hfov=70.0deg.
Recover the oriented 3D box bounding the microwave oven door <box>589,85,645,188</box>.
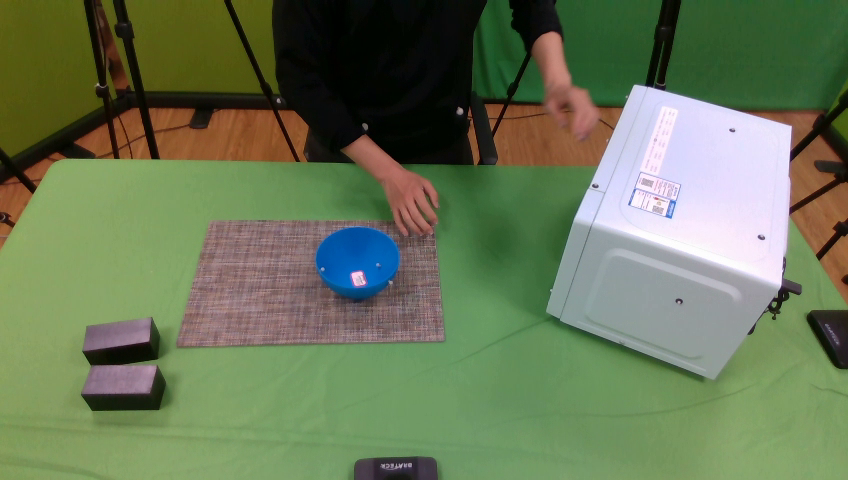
[{"bbox_3d":[0.342,-0.107,1.149,0.039,0.245,0.354,21,48,15],"label":"microwave oven door"}]

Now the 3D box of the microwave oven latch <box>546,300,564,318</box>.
[{"bbox_3d":[0.242,0.102,1.081,0.030,0.029,0.079,21,48,17],"label":"microwave oven latch"}]

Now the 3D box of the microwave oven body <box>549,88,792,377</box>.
[{"bbox_3d":[0.456,-0.028,1.088,0.325,0.261,0.440,20,47,16],"label":"microwave oven body"}]

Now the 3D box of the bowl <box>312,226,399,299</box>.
[{"bbox_3d":[-0.120,0.054,1.091,0.151,0.077,0.150,2,46,-2],"label":"bowl"}]
